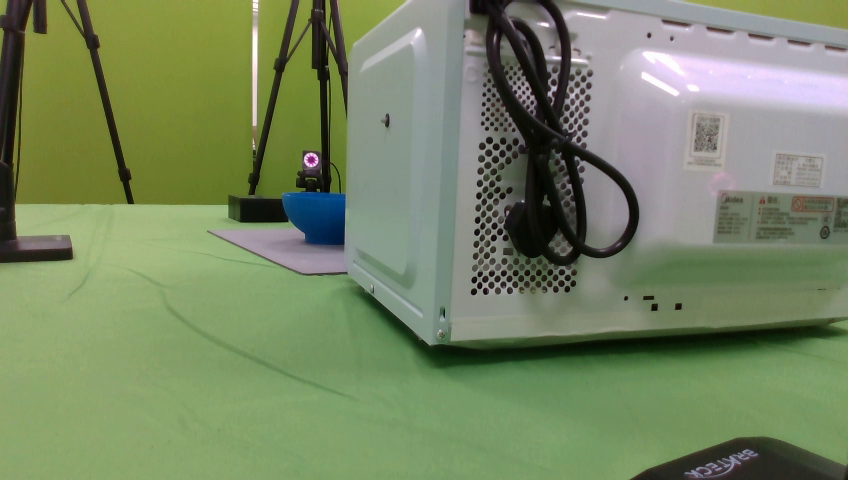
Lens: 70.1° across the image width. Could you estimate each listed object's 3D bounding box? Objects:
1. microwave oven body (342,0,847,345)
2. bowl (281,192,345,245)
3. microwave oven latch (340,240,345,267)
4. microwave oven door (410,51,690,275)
[{"bbox_3d":[0.169,-0.059,0.573,0.444,0.260,0.324,1,7,-20],"label":"microwave oven body"},{"bbox_3d":[-0.158,-0.035,0.991,0.151,0.077,0.151,3,7,0],"label":"bowl"},{"bbox_3d":[-0.052,0.016,0.662,0.079,0.029,0.030,1,7,-18],"label":"microwave oven latch"},{"bbox_3d":[0.161,-0.084,0.723,0.357,0.243,0.039,0,8,-20],"label":"microwave oven door"}]
